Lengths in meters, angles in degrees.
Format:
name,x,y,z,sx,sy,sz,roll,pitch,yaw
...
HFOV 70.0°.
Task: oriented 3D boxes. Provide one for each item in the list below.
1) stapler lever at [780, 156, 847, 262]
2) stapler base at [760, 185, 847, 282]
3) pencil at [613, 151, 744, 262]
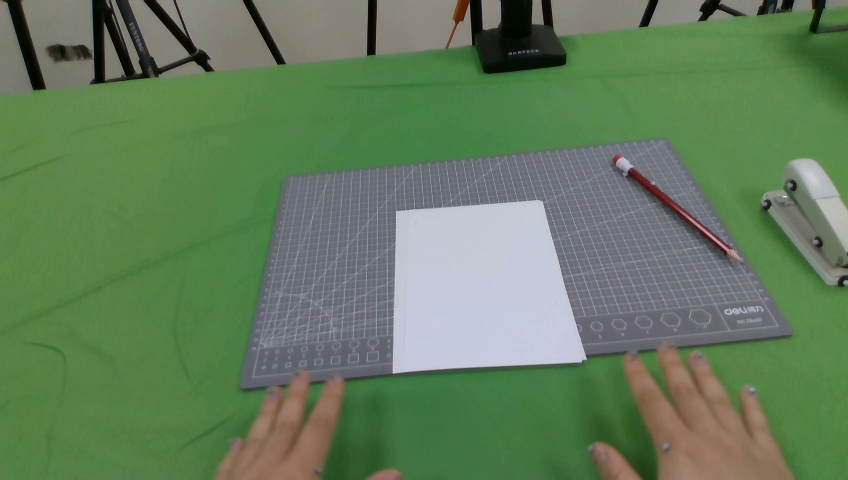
name,x,y,z,sx,sy,sz,roll,pitch,yaw
stapler lever,0.362,-0.032,0.547,0.027,0.040,0.117,-9,43,1
stapler base,0.364,-0.015,0.565,0.041,0.025,0.129,-9,44,1
pencil,0.249,-0.038,0.608,0.012,0.012,0.191,-19,44,-14
